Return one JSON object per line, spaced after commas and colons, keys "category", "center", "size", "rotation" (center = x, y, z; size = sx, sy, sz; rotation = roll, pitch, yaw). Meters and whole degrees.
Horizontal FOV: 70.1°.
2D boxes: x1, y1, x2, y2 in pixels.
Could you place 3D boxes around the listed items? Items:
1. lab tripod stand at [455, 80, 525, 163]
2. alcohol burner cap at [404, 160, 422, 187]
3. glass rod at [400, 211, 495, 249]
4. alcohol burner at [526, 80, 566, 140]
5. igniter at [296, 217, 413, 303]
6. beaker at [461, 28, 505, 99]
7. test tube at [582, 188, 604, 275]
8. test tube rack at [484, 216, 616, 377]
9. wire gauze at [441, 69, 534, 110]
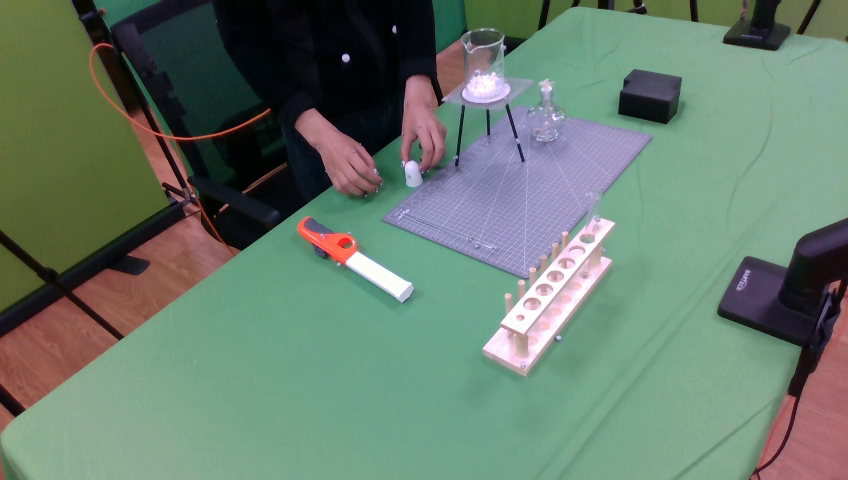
{"category": "lab tripod stand", "center": [0.120, -0.219, 1.126], "size": [0.148, 0.132, 0.147], "rotation": [-4, 40, 4]}
{"category": "alcohol burner cap", "center": [-0.023, -0.125, 1.119], "size": [0.034, 0.048, 0.033], "rotation": [-5, 40, 5]}
{"category": "glass rod", "center": [0.035, -0.018, 1.001], "size": [0.198, 0.008, 0.008], "rotation": [21, 49, 35]}
{"category": "alcohol burner", "center": [0.235, -0.252, 1.159], "size": [0.078, 0.119, 0.077], "rotation": [-4, 42, 4]}
{"category": "igniter", "center": [-0.121, 0.025, 0.970], "size": [0.274, 0.025, 0.057], "rotation": [30, 63, 37]}
{"category": "beaker", "center": [0.103, -0.304, 1.051], "size": [0.073, 0.101, 0.084], "rotation": [19, 48, 29]}
{"category": "test tube", "center": [0.228, -0.007, 0.821], "size": [0.017, 0.151, 0.017], "rotation": [-3, 42, 3]}
{"category": "test tube rack", "center": [0.174, 0.064, 0.823], "size": [0.066, 0.085, 0.243], "rotation": [23, 49, 33]}
{"category": "wire gauze", "center": [0.114, -0.268, 1.082], "size": [0.120, 0.011, 0.125], "rotation": [22, 47, 28]}
